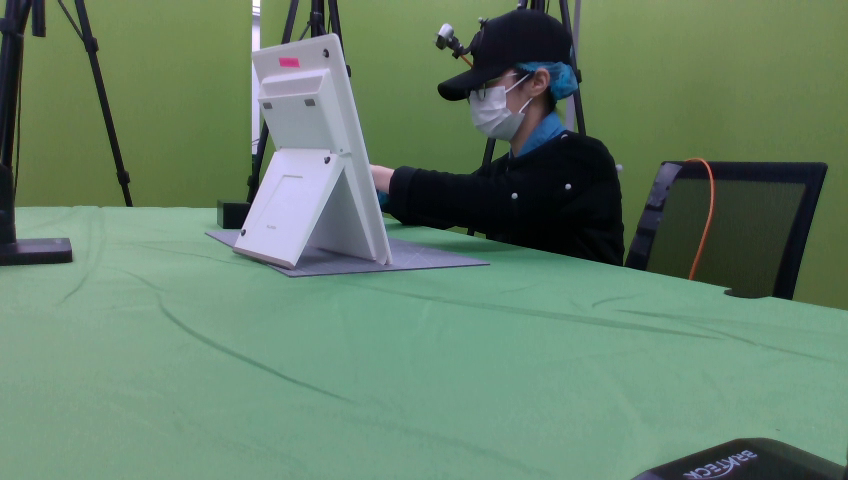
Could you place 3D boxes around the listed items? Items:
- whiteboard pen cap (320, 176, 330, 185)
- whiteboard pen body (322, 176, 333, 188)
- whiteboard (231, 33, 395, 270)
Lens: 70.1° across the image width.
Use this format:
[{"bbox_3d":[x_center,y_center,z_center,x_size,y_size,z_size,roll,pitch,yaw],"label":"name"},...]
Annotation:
[{"bbox_3d":[-0.186,-0.112,1.138,0.017,0.017,0.032,1,5,-6],"label":"whiteboard pen cap"},{"bbox_3d":[-0.191,-0.115,1.196,0.017,0.017,0.140,1,1,-6],"label":"whiteboard pen body"},{"bbox_3d":[-0.193,-0.094,0.805,0.144,0.305,0.216,-28,25,-35],"label":"whiteboard"}]
